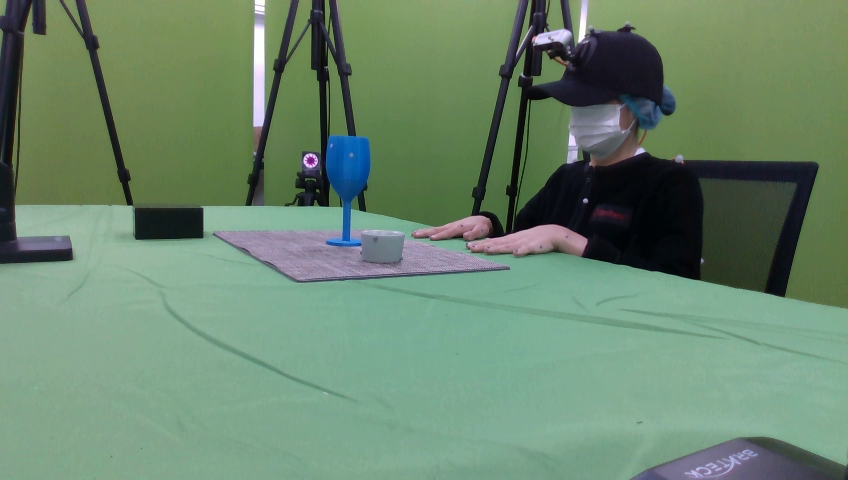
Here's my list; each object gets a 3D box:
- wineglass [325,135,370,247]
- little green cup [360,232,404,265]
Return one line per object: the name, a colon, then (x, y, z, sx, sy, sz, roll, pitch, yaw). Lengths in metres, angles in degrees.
wineglass: (-0.124, -0.078, 0.964, 0.074, 0.172, 0.073, 3, 7, 0)
little green cup: (-0.058, 0.011, 0.821, 0.061, 0.038, 0.061, 2, 8, 0)
